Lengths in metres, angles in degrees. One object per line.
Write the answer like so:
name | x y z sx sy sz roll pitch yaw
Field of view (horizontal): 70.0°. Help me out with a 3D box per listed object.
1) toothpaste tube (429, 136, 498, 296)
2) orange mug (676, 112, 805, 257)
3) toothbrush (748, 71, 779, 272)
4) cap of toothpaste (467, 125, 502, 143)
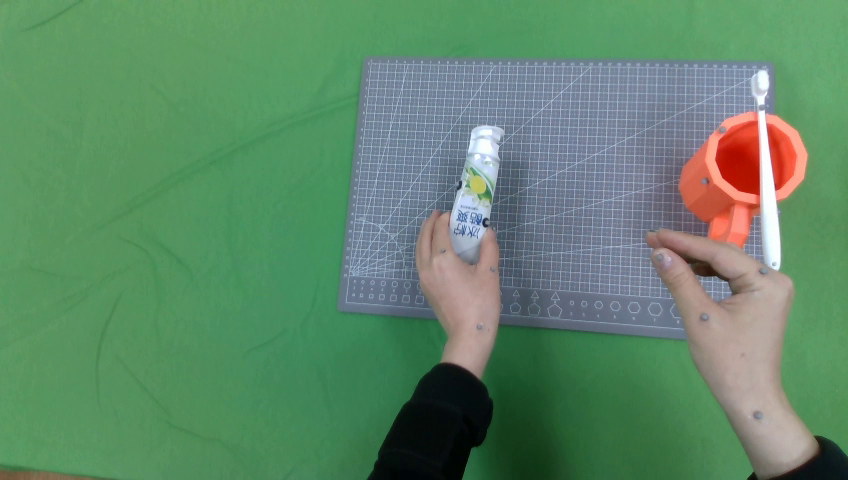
toothpaste tube | 0.045 -0.028 0.624 0.055 0.035 0.165 10 87 17
orange mug | 0.296 -0.048 0.581 0.083 0.101 0.125 12 78 11
toothbrush | 0.298 -0.063 0.530 0.014 0.017 0.181 0 81 5
cap of toothpaste | 0.063 -0.109 0.627 0.037 0.037 0.011 -1 78 8
